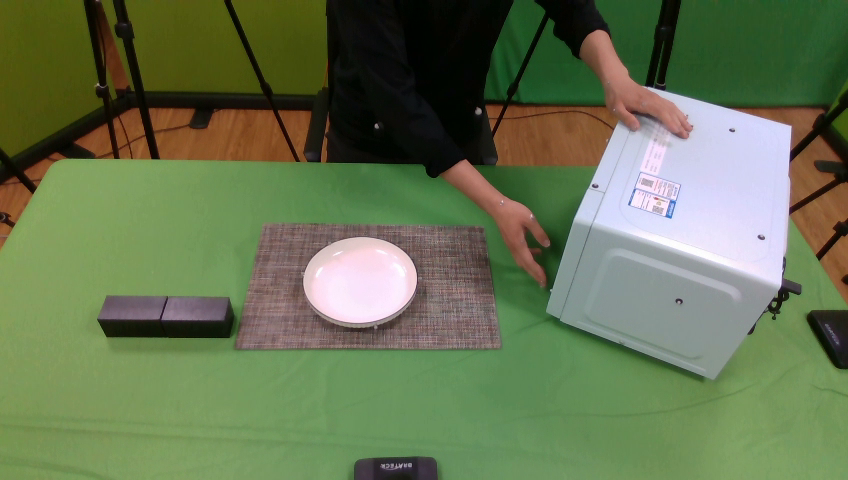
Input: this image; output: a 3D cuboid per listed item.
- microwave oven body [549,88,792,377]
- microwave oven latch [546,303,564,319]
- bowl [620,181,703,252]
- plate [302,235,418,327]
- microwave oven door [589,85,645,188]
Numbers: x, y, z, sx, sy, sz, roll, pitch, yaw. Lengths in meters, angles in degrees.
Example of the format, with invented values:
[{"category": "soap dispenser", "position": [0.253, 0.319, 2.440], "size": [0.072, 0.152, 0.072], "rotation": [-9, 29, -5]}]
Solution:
[{"category": "microwave oven body", "position": [0.456, -0.028, 1.088], "size": [0.325, 0.261, 0.440], "rotation": [20, 47, 16]}, {"category": "microwave oven latch", "position": [0.242, 0.102, 1.081], "size": [0.030, 0.029, 0.079], "rotation": [21, 48, 17]}, {"category": "bowl", "position": [0.433, -0.031, 1.140], "size": [0.151, 0.077, 0.150], "rotation": [4, 49, -4]}, {"category": "plate", "position": [-0.114, 0.077, 1.098], "size": [0.208, 0.039, 0.206], "rotation": [2, 46, -2]}, {"category": "microwave oven door", "position": [0.342, -0.107, 1.149], "size": [0.039, 0.245, 0.354], "rotation": [20, 48, 15]}]
